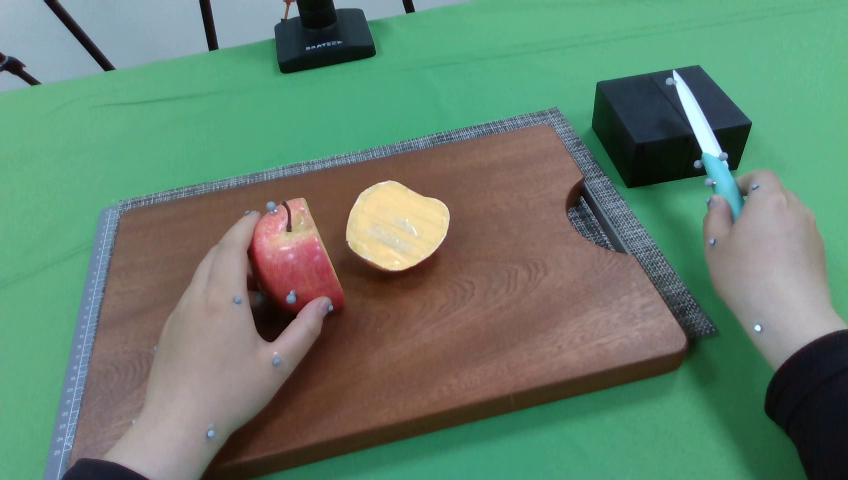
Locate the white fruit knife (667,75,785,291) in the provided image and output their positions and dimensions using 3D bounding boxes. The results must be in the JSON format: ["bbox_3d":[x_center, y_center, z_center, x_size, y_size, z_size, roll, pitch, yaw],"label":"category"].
[{"bbox_3d":[0.225,-0.054,0.469,0.027,0.016,0.205,5,56,-22],"label":"white fruit knife"}]

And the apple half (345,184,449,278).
[{"bbox_3d":[-0.022,-0.001,0.467,0.081,0.033,0.080,0,61,1],"label":"apple half"}]

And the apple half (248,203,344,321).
[{"bbox_3d":[-0.093,0.021,0.426,0.053,0.075,0.080,-23,50,-9],"label":"apple half"}]
